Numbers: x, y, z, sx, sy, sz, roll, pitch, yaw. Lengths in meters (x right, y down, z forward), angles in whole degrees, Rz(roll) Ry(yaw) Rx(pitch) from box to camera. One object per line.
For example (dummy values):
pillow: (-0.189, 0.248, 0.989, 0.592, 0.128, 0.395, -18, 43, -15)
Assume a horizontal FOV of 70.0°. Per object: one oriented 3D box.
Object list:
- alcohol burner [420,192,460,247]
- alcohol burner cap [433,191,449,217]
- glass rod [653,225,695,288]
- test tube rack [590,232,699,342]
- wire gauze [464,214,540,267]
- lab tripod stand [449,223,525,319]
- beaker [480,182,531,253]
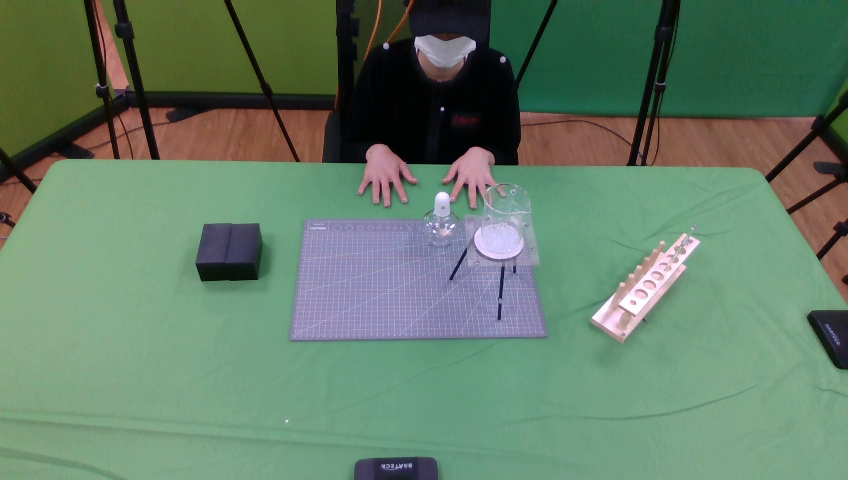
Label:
alcohol burner: (0.032, -0.045, 1.176, 0.078, 0.120, 0.077, 2, 44, -1)
alcohol burner cap: (0.033, -0.070, 1.150, 0.034, 0.048, 0.033, 0, 45, 0)
glass rod: (0.432, 0.037, 1.057, 0.008, 0.200, 0.008, 1, 54, -1)
test tube rack: (0.407, 0.074, 1.112, 0.066, 0.085, 0.242, 35, 53, 26)
wire gauze: (0.131, -0.001, 1.035, 0.121, 0.011, 0.124, 1, 44, -3)
lab tripod stand: (0.120, 0.046, 1.080, 0.148, 0.132, 0.147, 1, 47, -1)
beaker: (0.133, -0.033, 0.998, 0.083, 0.101, 0.074, 26, 51, 22)
